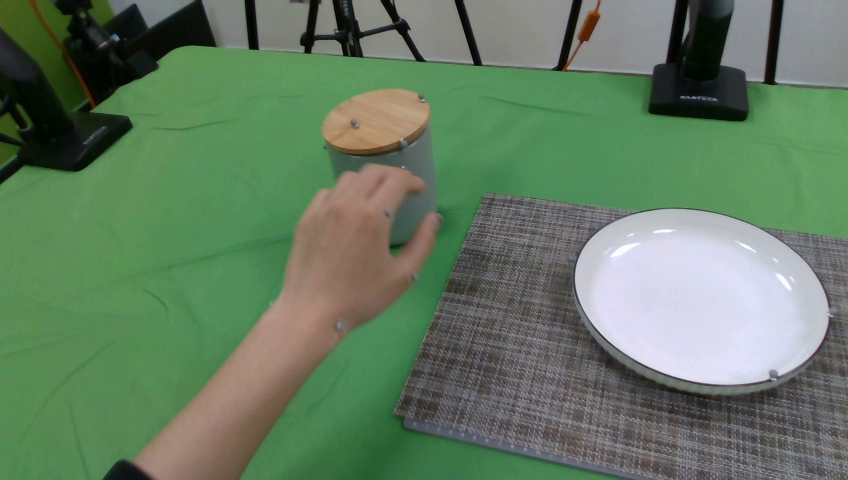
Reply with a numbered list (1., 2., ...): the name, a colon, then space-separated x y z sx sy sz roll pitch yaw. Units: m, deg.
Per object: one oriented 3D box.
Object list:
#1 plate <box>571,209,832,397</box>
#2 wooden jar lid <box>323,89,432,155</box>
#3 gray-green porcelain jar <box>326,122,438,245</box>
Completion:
1. plate: 0.235 0.053 0.534 0.207 0.039 0.205 -4 43 4
2. wooden jar lid: -0.044 -0.113 0.595 0.108 0.021 0.107 -6 43 6
3. gray-green porcelain jar: -0.040 -0.066 0.639 0.106 0.128 0.105 -4 43 4
